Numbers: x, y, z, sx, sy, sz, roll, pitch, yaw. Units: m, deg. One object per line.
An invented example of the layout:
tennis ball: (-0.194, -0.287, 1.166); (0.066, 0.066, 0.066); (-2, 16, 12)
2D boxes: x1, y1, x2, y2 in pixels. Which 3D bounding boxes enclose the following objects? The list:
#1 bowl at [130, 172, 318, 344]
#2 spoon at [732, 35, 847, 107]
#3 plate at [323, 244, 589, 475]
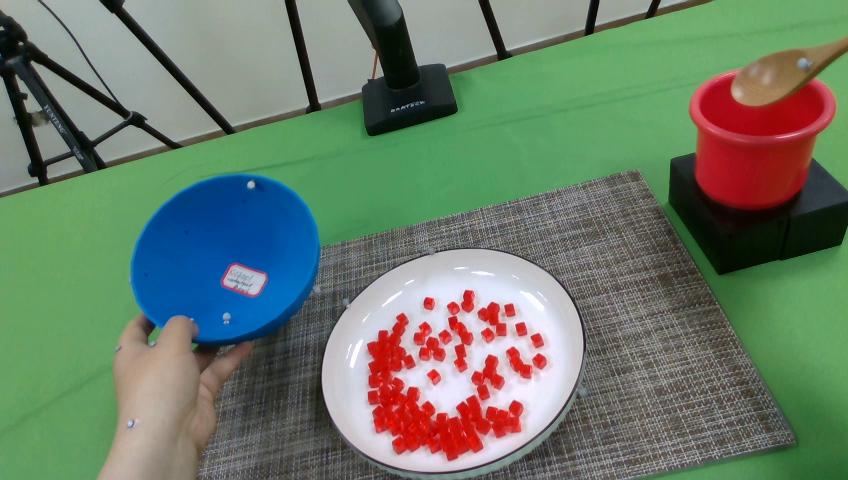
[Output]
bowl: (-0.158, 0.026, 0.519); (0.151, 0.077, 0.150); (-1, 63, 2)
spoon: (0.255, -0.115, 0.342); (0.022, 0.193, 0.041); (24, 80, -12)
plate: (0.025, 0.089, 0.480); (0.207, 0.039, 0.205); (-10, 44, 10)
